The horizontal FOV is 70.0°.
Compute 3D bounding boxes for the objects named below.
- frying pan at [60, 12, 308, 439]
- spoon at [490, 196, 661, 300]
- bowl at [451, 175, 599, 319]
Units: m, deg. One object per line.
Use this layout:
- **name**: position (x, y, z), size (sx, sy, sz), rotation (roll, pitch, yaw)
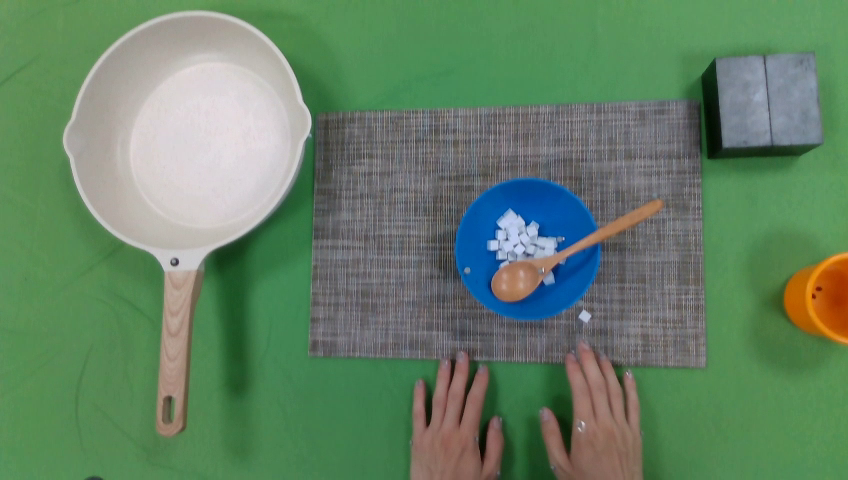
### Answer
- **frying pan**: position (-0.278, -0.022, 0.707), size (0.306, 0.103, 0.485), rotation (-2, 76, 8)
- **spoon**: position (0.153, 0.008, 0.622), size (0.193, 0.022, 0.041), rotation (-31, 75, 22)
- **bowl**: position (0.109, 0.011, 0.660), size (0.151, 0.077, 0.151), rotation (-1, 84, 8)
